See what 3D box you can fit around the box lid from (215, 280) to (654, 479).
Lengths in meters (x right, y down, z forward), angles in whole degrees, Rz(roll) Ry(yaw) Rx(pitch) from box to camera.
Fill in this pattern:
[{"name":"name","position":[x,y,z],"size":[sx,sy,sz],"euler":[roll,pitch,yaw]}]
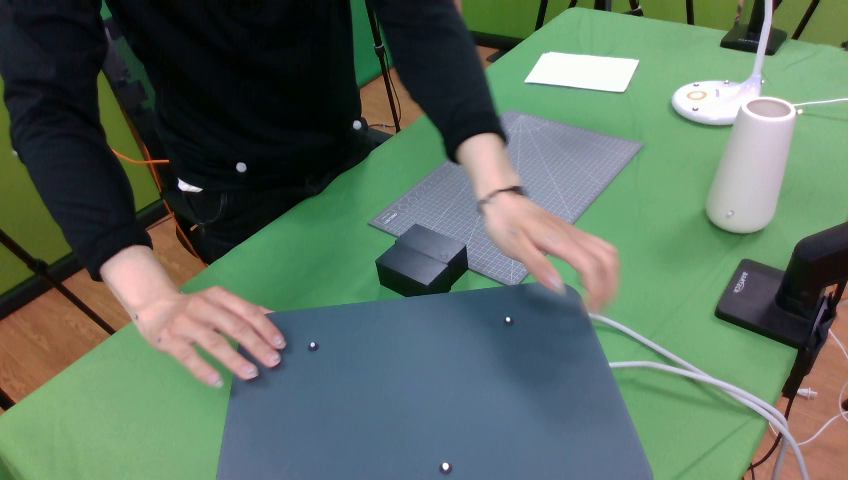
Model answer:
[{"name":"box lid","position":[-0.004,0.152,0.569],"size":[0.372,0.015,0.261],"euler":[-7,42,-2]}]

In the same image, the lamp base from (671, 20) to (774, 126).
[{"name":"lamp base","position":[0.581,-0.332,1.153],"size":[0.179,0.181,0.160],"euler":[2,42,7]}]

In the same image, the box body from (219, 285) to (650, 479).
[{"name":"box body","position":[0.005,0.209,0.618],"size":[0.364,0.161,0.252],"euler":[-8,40,-1]}]

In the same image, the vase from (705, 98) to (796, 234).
[{"name":"vase","position":[0.480,-0.103,0.888],"size":[0.098,0.201,0.097],"euler":[-4,42,4]}]

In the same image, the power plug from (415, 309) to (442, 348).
[{"name":"power plug","position":[0.004,0.121,0.787],"size":[0.035,0.053,0.072],"euler":[4,46,8]}]

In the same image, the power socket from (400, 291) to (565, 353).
[{"name":"power socket","position":[0.079,0.111,0.823],"size":[0.227,0.033,0.072],"euler":[-5,41,1]}]
